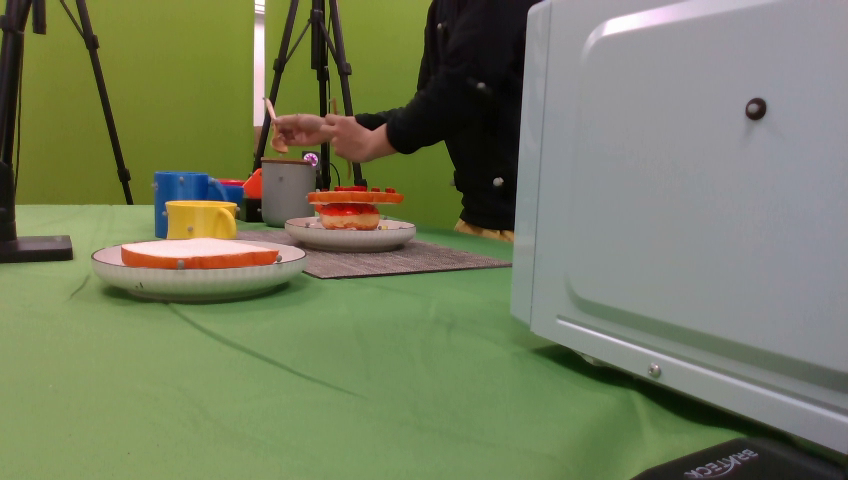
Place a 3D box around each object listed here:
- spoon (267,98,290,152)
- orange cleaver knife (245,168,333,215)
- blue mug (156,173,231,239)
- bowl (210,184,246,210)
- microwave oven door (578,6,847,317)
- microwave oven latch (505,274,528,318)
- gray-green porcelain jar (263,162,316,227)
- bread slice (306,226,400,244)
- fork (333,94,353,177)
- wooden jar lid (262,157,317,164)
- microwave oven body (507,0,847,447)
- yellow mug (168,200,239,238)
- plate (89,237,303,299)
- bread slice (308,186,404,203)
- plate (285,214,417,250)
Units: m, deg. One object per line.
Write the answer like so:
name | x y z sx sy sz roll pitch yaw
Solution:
spoon | -0.355 -0.278 1.455 0.042 0.193 0.021 7 -40 -35
orange cleaver knife | -0.300 -0.089 1.351 0.212 0.077 0.012 28 -9 -34
blue mug | -0.381 -0.057 1.004 0.117 0.106 0.082 0 8 -12
bowl | -0.422 -0.067 1.166 0.151 0.077 0.151 2 7 0
microwave oven door | 0.294 -0.067 0.570 0.358 0.243 0.039 -3 9 -31
microwave oven latch | 0.100 0.041 0.472 0.079 0.029 0.030 -2 8 -29
gray-green porcelain jar | -0.271 -0.092 1.217 0.106 0.126 0.106 2 7 0
bread slice | -0.103 -0.009 0.961 0.131 0.019 0.105 1 8 24
fork | -0.177 -0.223 1.317 0.018 0.207 0.028 -12 43 -2
wooden jar lid | -0.269 -0.154 1.208 0.108 0.020 0.108 3 5 0
microwave oven body | 0.331 -0.042 0.425 0.444 0.260 0.324 -2 8 -31
yellow mug | -0.320 -0.023 0.904 0.130 0.064 0.100 9 11 36
plate | -0.233 0.029 0.637 0.208 0.039 0.207 2 7 0
bread slice | -0.114 -0.071 0.952 0.134 0.018 0.107 -2 0 21
plate | -0.116 -0.014 0.964 0.209 0.038 0.209 2 7 0
